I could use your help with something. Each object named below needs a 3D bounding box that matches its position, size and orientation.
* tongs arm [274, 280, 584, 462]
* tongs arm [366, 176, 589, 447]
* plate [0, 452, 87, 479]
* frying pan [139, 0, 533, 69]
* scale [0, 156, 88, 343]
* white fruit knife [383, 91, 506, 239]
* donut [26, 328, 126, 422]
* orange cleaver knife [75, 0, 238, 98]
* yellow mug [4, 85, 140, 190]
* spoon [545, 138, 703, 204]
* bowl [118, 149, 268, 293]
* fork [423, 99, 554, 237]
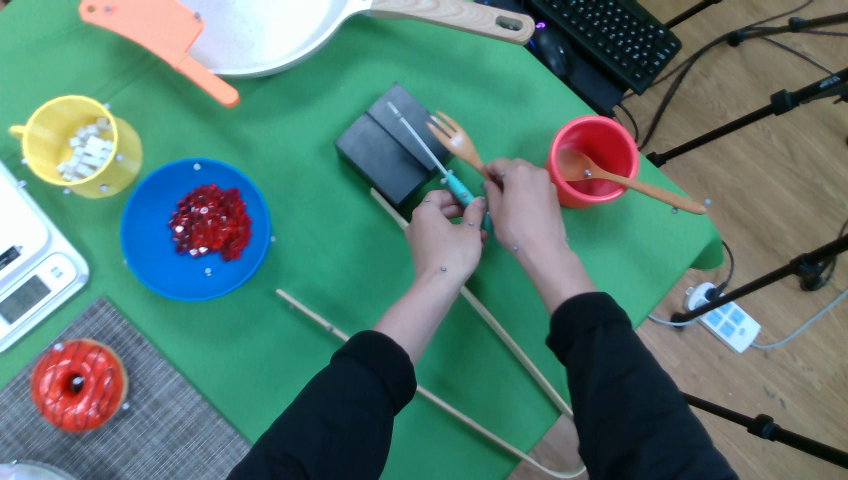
[{"bbox_3d":[0.005,0.138,0.673,0.385,0.026,0.050,35,78,1],"label":"tongs arm"},{"bbox_3d":[0.059,0.076,0.688,0.028,0.028,0.387,-40,87,-15],"label":"tongs arm"},{"bbox_3d":[-0.422,0.322,0.622,0.209,0.038,0.208,0,83,-3],"label":"plate"},{"bbox_3d":[-0.117,-0.299,0.684,0.487,0.103,0.306,17,83,7],"label":"frying pan"},{"bbox_3d":[-0.488,0.001,0.665,0.148,0.031,0.200,-41,87,-6],"label":"scale"},{"bbox_3d":[0.024,-0.076,0.644,0.016,0.027,0.209,-42,109,-1],"label":"white fruit knife"},{"bbox_3d":[-0.369,0.143,0.644,0.099,0.048,0.099,0,86,-2],"label":"donut"},{"bbox_3d":[-0.277,-0.230,0.648,0.211,0.012,0.077,34,79,1],"label":"orange cleaver knife"},{"bbox_3d":[-0.392,-0.114,0.666,0.131,0.064,0.099,12,83,-1],"label":"yellow mug"},{"bbox_3d":[0.209,-0.073,0.655,0.041,0.022,0.191,-51,43,-8],"label":"spoon"},{"bbox_3d":[-0.238,-0.016,0.657,0.151,0.077,0.151,0,84,-3],"label":"bowl"},{"bbox_3d":[0.076,-0.074,0.664,0.209,0.018,0.028,45,71,-20],"label":"fork"}]
